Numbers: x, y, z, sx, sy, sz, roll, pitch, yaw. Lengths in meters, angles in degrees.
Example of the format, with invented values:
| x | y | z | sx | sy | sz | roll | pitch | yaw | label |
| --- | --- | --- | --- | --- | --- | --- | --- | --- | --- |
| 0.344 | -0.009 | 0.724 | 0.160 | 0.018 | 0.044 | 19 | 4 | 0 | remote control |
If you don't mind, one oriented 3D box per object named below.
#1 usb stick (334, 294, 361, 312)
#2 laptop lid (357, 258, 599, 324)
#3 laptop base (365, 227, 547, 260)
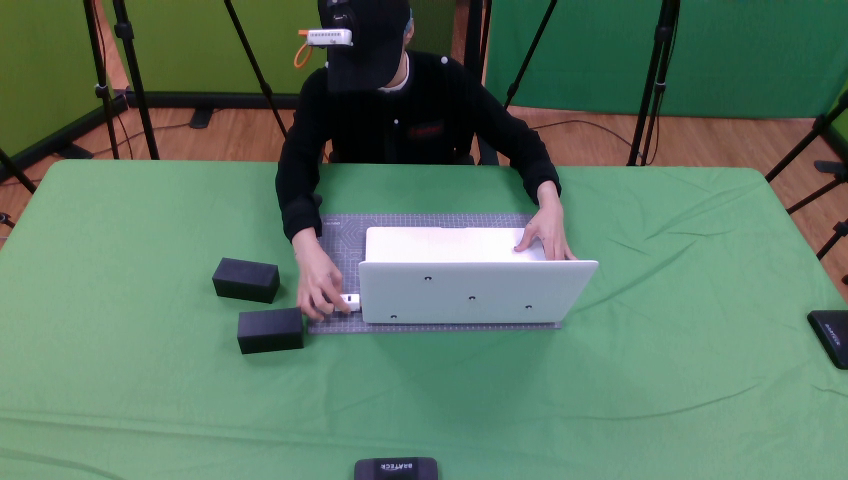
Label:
| x | y | z | sx | sy | sz | roll | pitch | yaw | label |
| --- | --- | --- | --- | --- | --- | --- | --- | --- | --- |
| -0.129 | 0.111 | 1.065 | 0.059 | 0.027 | 0.021 | 2 | 47 | -9 | usb stick |
| 0.075 | 0.087 | 0.960 | 0.357 | 0.242 | 0.013 | 1 | 60 | -5 | laptop lid |
| 0.065 | 0.063 | 1.145 | 0.355 | 0.023 | 0.234 | 0 | 43 | -4 | laptop base |
